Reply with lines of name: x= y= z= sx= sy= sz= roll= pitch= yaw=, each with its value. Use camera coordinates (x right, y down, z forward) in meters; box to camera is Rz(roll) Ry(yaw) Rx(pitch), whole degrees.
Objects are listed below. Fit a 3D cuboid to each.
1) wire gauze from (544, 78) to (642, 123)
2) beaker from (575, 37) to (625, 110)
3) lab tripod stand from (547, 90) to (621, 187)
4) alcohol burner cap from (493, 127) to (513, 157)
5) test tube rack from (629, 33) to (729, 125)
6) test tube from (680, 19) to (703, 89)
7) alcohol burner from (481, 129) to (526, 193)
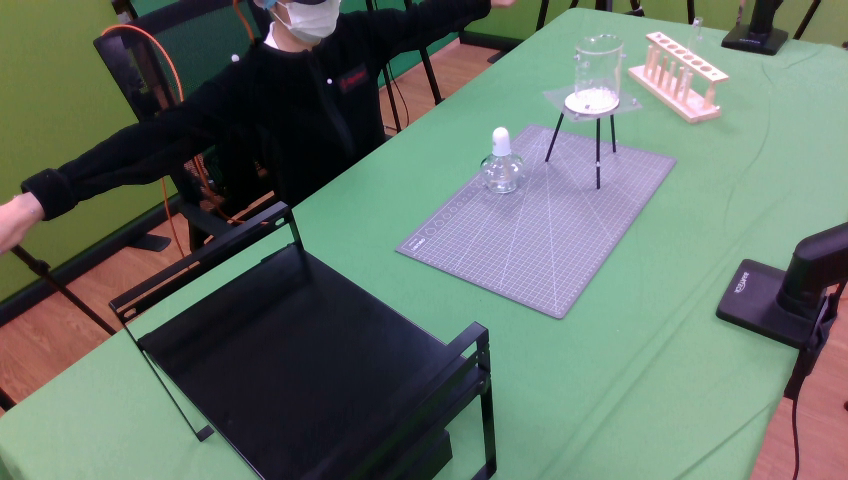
wire gauze: x=0.282 y=-0.234 z=1.021 sx=0.125 sy=0.011 sz=0.120 roll=-17 pitch=38 yaw=-4
beaker: x=0.283 y=-0.271 z=0.988 sx=0.074 sy=0.101 sz=0.083 roll=-10 pitch=39 yaw=1
lab tripod stand: x=0.289 y=-0.184 z=1.062 sx=0.148 sy=0.132 sz=0.147 roll=-6 pitch=41 yaw=6
alcohol burner cap: x=0.132 y=-0.169 z=1.030 sx=0.034 sy=0.048 sz=0.033 roll=-7 pitch=36 yaw=5
test tube rack: x=0.516 y=-0.337 z=1.248 sx=0.067 sy=0.085 sz=0.240 roll=-14 pitch=41 yaw=-7
test tube: x=0.531 y=-0.367 z=1.202 sx=0.017 sy=0.151 sz=0.017 roll=-4 pitch=46 yaw=4
alcohol burner: x=0.138 y=-0.142 z=1.052 sx=0.078 sy=0.119 sz=0.077 roll=-5 pitch=42 yaw=5
